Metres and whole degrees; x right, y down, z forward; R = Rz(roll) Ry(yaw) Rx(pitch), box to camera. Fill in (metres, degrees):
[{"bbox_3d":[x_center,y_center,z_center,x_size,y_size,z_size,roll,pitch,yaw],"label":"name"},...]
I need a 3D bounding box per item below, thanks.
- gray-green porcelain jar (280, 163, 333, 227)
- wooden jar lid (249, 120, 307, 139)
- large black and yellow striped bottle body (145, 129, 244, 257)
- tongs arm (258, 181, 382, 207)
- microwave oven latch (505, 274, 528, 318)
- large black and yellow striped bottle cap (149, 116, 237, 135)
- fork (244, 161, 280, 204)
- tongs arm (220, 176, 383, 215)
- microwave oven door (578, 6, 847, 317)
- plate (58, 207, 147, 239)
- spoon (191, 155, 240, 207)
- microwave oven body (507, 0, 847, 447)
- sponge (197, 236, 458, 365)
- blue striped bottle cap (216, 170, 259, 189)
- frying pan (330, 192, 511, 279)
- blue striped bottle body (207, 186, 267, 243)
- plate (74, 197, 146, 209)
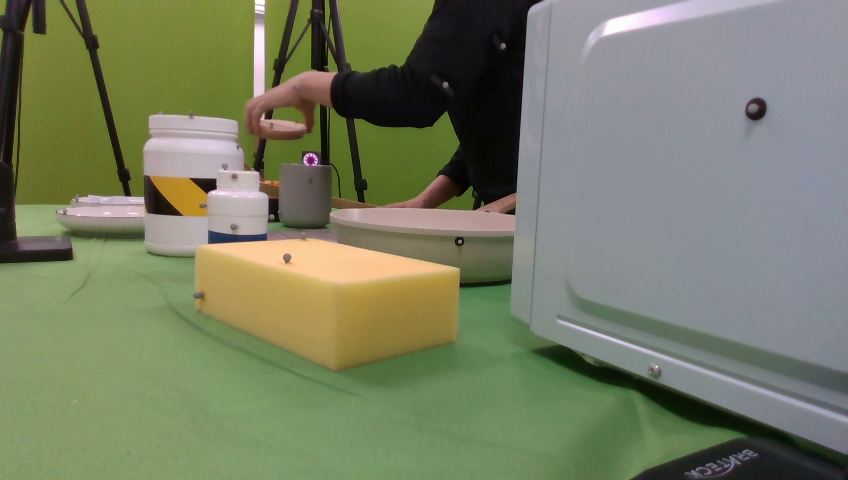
[{"bbox_3d":[-0.238,-0.092,1.221,0.106,0.126,0.106,2,7,0],"label":"gray-green porcelain jar"},{"bbox_3d":[-0.282,-0.213,1.170,0.108,0.020,0.108,6,20,-2],"label":"wooden jar lid"},{"bbox_3d":[-0.320,-0.075,0.852,0.131,0.184,0.130,2,8,0],"label":"large black and yellow striped bottle body"},{"bbox_3d":[-0.241,-0.095,1.373,0.387,0.026,0.050,9,0,-37],"label":"tongs arm"},{"bbox_3d":[0.100,0.041,0.472,0.079,0.029,0.030,-2,8,-29],"label":"microwave oven latch"},{"bbox_3d":[-0.319,-0.158,0.841,0.115,0.019,0.115,3,7,0],"label":"large black and yellow striped bottle cap"},{"bbox_3d":[-0.399,-0.144,1.489,0.028,0.018,0.208,23,-23,47],"label":"fork"},{"bbox_3d":[-0.285,-0.104,1.445,0.389,0.027,0.028,9,-4,-23],"label":"tongs arm"},{"bbox_3d":[0.294,-0.067,0.570,0.358,0.243,0.039,-3,9,-31],"label":"microwave oven door"},{"bbox_3d":[-0.496,-0.030,1.022,0.209,0.038,0.209,2,8,0],"label":"plate"},{"bbox_3d":[-0.489,-0.135,1.417,0.041,0.021,0.194,2,-35,19],"label":"spoon"},{"bbox_3d":[0.331,-0.042,0.425,0.444,0.260,0.324,-2,8,-31],"label":"microwave oven body"},{"bbox_3d":[-0.087,0.039,0.500,0.206,0.061,0.119,8,9,44],"label":"sponge"},{"bbox_3d":[-0.201,-0.066,0.654,0.044,0.020,0.044,0,5,0],"label":"blue striped bottle cap"},{"bbox_3d":[0.071,-0.030,0.883,0.305,0.102,0.490,6,17,27],"label":"frying pan"},{"bbox_3d":[-0.204,-0.015,0.661,0.063,0.120,0.063,2,7,0],"label":"blue striped bottle body"},{"bbox_3d":[-0.596,-0.061,1.238,0.208,0.039,0.207,2,8,0],"label":"plate"}]
